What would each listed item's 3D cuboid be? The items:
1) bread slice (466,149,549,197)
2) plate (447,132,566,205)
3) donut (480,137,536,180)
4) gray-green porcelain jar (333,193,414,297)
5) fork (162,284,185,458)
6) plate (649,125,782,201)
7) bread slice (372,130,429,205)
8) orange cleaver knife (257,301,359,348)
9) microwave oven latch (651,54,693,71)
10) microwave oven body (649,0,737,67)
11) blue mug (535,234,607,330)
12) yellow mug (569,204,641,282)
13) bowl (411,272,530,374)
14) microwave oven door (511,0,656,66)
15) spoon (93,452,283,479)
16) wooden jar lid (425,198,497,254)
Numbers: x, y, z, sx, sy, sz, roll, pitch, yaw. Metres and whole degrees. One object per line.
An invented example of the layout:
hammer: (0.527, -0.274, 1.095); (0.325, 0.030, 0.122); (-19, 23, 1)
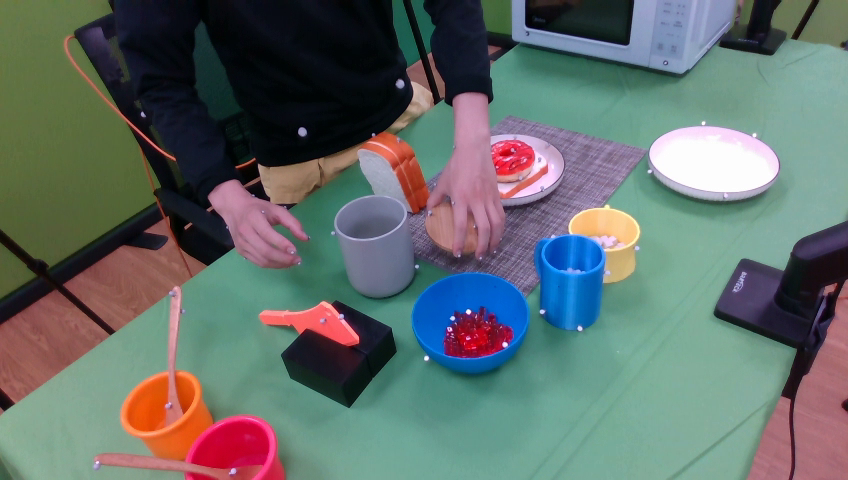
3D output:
bread slice: (0.156, -0.128, 1.084); (0.132, 0.019, 0.104); (-34, 48, -23)
plate: (0.146, -0.124, 1.076); (0.209, 0.038, 0.208); (-4, 41, 4)
donut: (0.145, -0.144, 1.056); (0.099, 0.048, 0.098); (-6, 42, 6)
gray-green porcelain jar: (-0.070, 0.012, 0.887); (0.106, 0.127, 0.105); (-4, 41, 4)
fork: (-0.302, 0.157, 0.733); (0.028, 0.019, 0.207); (-3, 84, 15)
plate: (0.493, -0.127, 1.036); (0.207, 0.039, 0.206); (-4, 41, 4)
bread slice: (-0.043, -0.126, 1.038); (0.106, 0.135, 0.018); (31, 61, 33)
orange cleaver knife: (-0.160, 0.116, 0.813); (0.210, 0.077, 0.012); (-9, 29, 48)
microwave oven latch: (0.531, -0.386, 1.301); (0.078, 0.029, 0.030); (26, 51, 33)
microwave oven body: (0.475, -0.602, 1.411); (0.438, 0.261, 0.327); (23, 50, 32)
blue mug: (0.191, 0.048, 0.824); (0.082, 0.106, 0.115); (-26, 44, -20)
yellow mug: (0.268, -0.005, 0.904); (0.099, 0.064, 0.130); (7, 41, 15)
bowl: (0.062, 0.120, 0.780); (0.151, 0.077, 0.150); (-4, 40, 4)
microwave oven door: (0.351, -0.539, 1.348); (0.353, 0.245, 0.039); (24, 50, 31)
spoon: (-0.240, 0.239, 0.632); (0.195, 0.021, 0.041); (26, 34, -32)
wooden jar lid: (0.054, -0.019, 0.908); (0.108, 0.021, 0.108); (2, 48, -2)
